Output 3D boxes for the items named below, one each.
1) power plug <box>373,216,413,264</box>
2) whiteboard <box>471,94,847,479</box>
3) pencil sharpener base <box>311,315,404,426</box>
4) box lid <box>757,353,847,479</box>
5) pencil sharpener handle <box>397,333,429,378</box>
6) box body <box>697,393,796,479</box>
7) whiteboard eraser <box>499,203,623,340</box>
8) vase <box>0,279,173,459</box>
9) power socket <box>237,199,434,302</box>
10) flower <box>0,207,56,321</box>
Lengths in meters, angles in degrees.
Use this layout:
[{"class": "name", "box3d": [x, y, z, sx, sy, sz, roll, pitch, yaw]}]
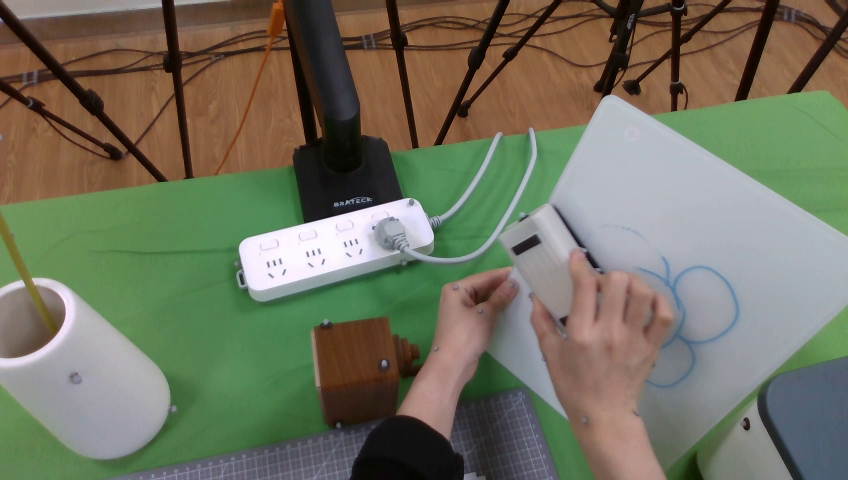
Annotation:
[{"class": "power plug", "box3d": [-0.035, 0.007, 0.655, 0.035, 0.053, 0.072, -6, 59, -8]}, {"class": "whiteboard", "box3d": [0.214, 0.037, 0.557, 0.215, 0.307, 0.144, 39, 43, 20]}, {"class": "pencil sharpener base", "box3d": [-0.059, 0.122, 0.560, 0.077, 0.108, 0.060, -7, 57, -10]}, {"class": "box lid", "box3d": [0.420, 0.233, 0.403, 0.264, 0.015, 0.367, -10, 58, -12]}, {"class": "pencil sharpener handle", "box3d": [-0.009, 0.109, 0.559, 0.031, 0.068, 0.035, -7, 57, -10]}, {"class": "box body", "box3d": [0.416, 0.277, 0.464, 0.255, 0.161, 0.360, -10, 58, -11]}, {"class": "whiteboard eraser", "box3d": [0.117, 0.026, 0.513, 0.042, 0.055, 0.112, -34, 91, -48]}, {"class": "vase", "box3d": [-0.280, 0.110, 0.495, 0.098, 0.201, 0.097, 1, 56, -2]}, {"class": "power socket", "box3d": [-0.094, 0.010, 0.676, 0.227, 0.033, 0.071, -15, 60, -14]}, {"class": "flower", "box3d": [-0.273, 0.048, 0.437, 0.038, 0.365, 0.043, -20, 42, -25]}]
